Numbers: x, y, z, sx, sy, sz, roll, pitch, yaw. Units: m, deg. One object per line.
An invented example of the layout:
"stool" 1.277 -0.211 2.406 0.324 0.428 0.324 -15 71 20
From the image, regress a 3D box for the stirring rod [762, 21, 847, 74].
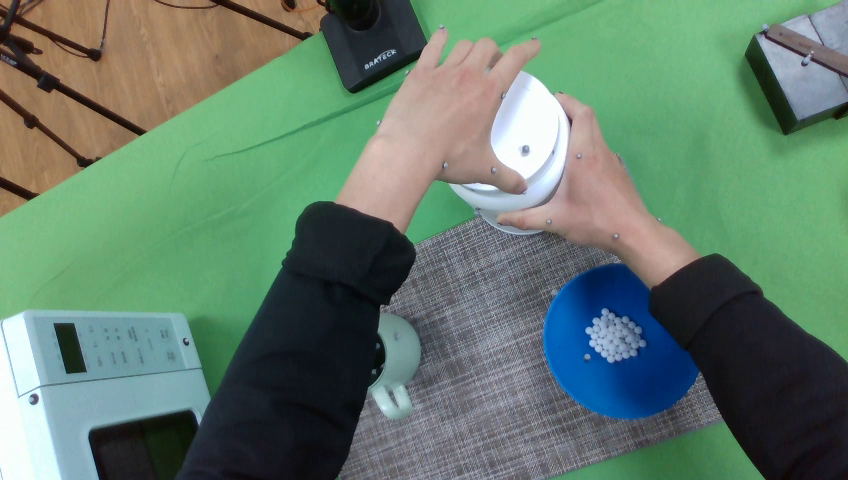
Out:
"stirring rod" 0.406 -0.165 0.575 0.175 0.006 0.014 35 128 17

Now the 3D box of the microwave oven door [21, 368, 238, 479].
"microwave oven door" -0.271 0.317 0.643 0.039 0.245 0.354 -26 77 13

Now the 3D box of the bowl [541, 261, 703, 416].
"bowl" 0.200 0.099 0.623 0.151 0.077 0.151 -2 83 17

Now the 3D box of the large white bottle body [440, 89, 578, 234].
"large white bottle body" 0.088 -0.084 0.624 0.130 0.186 0.130 -3 80 17

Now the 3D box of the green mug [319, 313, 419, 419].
"green mug" -0.053 0.142 0.682 0.092 0.105 0.124 -33 76 10

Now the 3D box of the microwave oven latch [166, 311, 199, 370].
"microwave oven latch" -0.320 0.132 0.785 0.030 0.029 0.079 -25 78 12

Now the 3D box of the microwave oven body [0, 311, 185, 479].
"microwave oven body" -0.414 0.342 0.689 0.326 0.261 0.439 -25 78 12

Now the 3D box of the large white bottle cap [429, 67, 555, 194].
"large white bottle cap" 0.060 -0.099 0.543 0.114 0.018 0.114 -3 81 17
